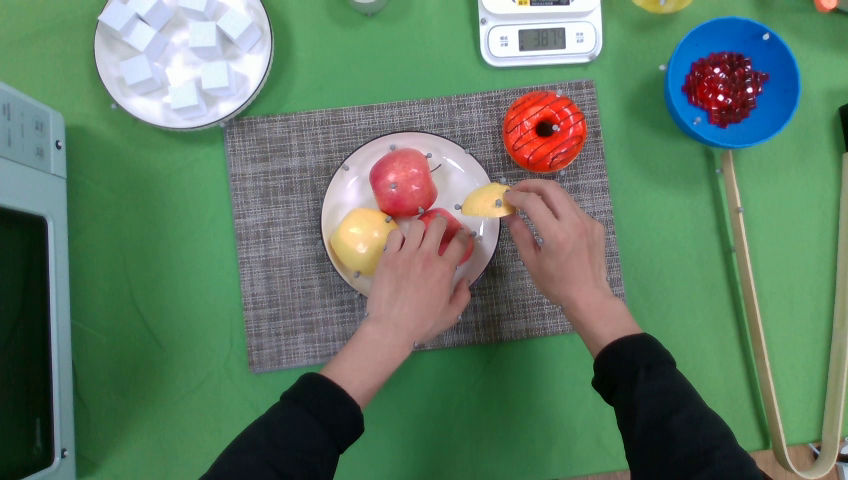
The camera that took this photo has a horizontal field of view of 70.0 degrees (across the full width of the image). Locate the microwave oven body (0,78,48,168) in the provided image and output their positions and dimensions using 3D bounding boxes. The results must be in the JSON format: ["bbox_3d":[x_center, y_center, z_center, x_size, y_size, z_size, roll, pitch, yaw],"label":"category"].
[{"bbox_3d":[-0.567,0.060,0.575,0.326,0.260,0.440,-4,86,-2],"label":"microwave oven body"}]

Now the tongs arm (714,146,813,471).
[{"bbox_3d":[0.397,0.077,0.712,0.051,0.026,0.384,-7,87,-7],"label":"tongs arm"}]

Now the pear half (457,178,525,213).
[{"bbox_3d":[0.068,-0.048,0.631,0.070,0.087,0.031,-15,99,-3],"label":"pear half"}]

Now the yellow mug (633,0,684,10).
[{"bbox_3d":[0.280,-0.350,0.724,0.100,0.064,0.130,-39,87,-3],"label":"yellow mug"}]

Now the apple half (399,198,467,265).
[{"bbox_3d":[0.012,-0.006,0.695,0.081,0.032,0.081,-1,95,-9],"label":"apple half"}]

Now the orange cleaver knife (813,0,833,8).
[{"bbox_3d":[0.440,-0.370,0.691,0.077,0.012,0.211,-17,87,-6],"label":"orange cleaver knife"}]

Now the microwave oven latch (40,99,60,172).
[{"bbox_3d":[-0.434,-0.118,0.688,0.030,0.029,0.079,-3,86,-2],"label":"microwave oven latch"}]

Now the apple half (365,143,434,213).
[{"bbox_3d":[-0.030,-0.071,0.690,0.074,0.053,0.080,-15,89,0],"label":"apple half"}]

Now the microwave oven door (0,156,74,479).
[{"bbox_3d":[-0.419,0.091,0.571,0.039,0.244,0.355,-5,85,-1],"label":"microwave oven door"}]

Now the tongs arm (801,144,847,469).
[{"bbox_3d":[0.483,0.074,0.719,0.028,0.028,0.386,8,86,-9],"label":"tongs arm"}]

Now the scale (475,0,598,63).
[{"bbox_3d":[0.135,-0.319,0.736,0.149,0.031,0.200,-3,86,-1],"label":"scale"}]

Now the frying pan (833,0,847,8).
[{"bbox_3d":[0.611,-0.324,0.710,0.307,0.103,0.485,-34,79,-2],"label":"frying pan"}]

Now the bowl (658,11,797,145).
[{"bbox_3d":[0.338,-0.178,0.707,0.151,0.077,0.151,0,86,-1],"label":"bowl"}]

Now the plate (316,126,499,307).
[{"bbox_3d":[-0.018,-0.027,0.705,0.209,0.038,0.208,0,85,-1],"label":"plate"}]

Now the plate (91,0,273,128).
[{"bbox_3d":[-0.280,-0.231,0.718,0.208,0.039,0.207,0,86,-1],"label":"plate"}]

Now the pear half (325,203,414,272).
[{"bbox_3d":[-0.054,0.005,0.686,0.110,0.056,0.076,30,86,-10],"label":"pear half"}]

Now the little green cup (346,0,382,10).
[{"bbox_3d":[-0.074,-0.310,0.728,0.061,0.038,0.061,0,85,-1],"label":"little green cup"}]

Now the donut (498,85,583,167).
[{"bbox_3d":[0.136,-0.134,0.712,0.099,0.048,0.099,0,86,2],"label":"donut"}]
